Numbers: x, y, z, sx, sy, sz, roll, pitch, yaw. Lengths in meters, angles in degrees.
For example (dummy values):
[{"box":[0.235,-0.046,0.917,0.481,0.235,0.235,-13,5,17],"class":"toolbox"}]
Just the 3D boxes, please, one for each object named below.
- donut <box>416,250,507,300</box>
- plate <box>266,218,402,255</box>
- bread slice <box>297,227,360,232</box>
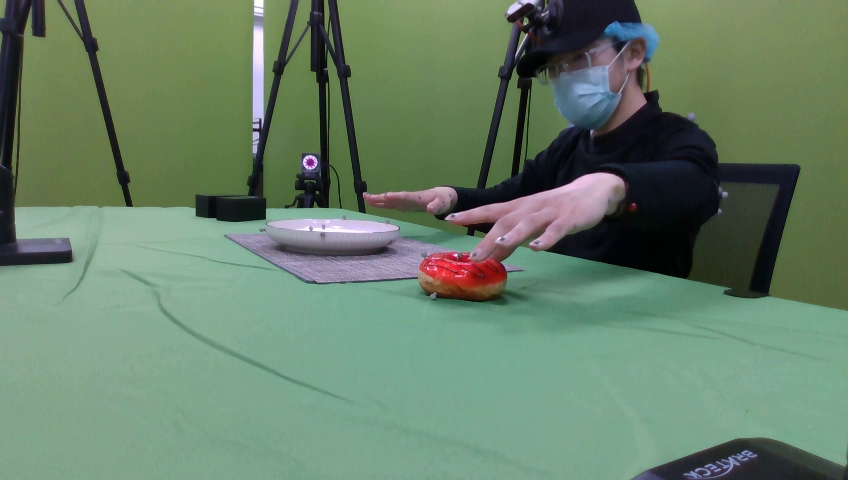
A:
[{"box":[0.041,0.039,0.650,0.099,0.048,0.099,4,9,0],"class":"donut"},{"box":[-0.138,-0.006,0.941,0.208,0.039,0.207,2,7,0],"class":"plate"},{"box":[-0.142,-0.005,0.939,0.131,0.019,0.105,8,8,33],"class":"bread slice"}]
